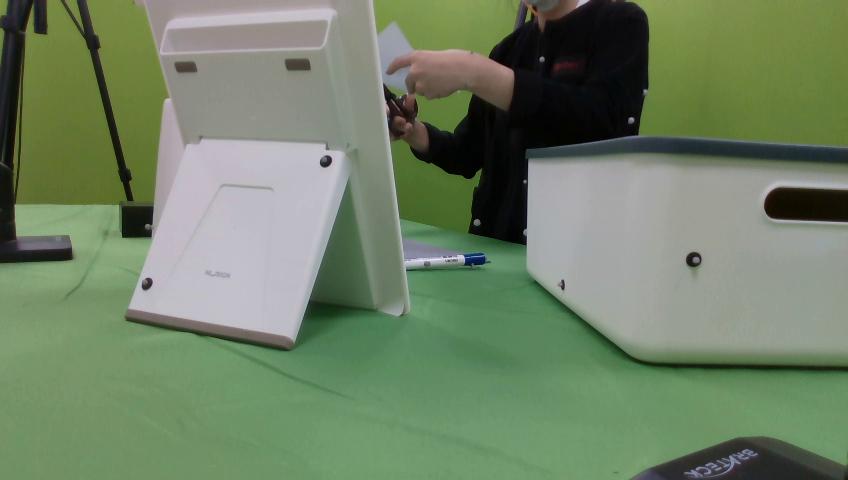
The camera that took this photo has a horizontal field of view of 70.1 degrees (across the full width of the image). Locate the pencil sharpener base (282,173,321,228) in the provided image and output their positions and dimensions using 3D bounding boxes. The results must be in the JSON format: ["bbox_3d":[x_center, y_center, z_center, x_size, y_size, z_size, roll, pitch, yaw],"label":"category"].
[{"bbox_3d":[-0.247,-0.080,1.212,0.061,0.107,0.076,-2,5,-28],"label":"pencil sharpener base"}]

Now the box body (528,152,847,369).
[{"bbox_3d":[0.257,-0.005,0.591,0.254,0.160,0.363,2,7,-4],"label":"box body"}]

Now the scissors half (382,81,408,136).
[{"bbox_3d":[-0.067,-0.245,1.080,0.012,0.040,0.176,28,-19,32],"label":"scissors half"}]

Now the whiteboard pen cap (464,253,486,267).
[{"bbox_3d":[0.066,0.027,0.818,0.033,0.018,0.018,-5,10,-24],"label":"whiteboard pen cap"}]

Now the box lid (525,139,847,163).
[{"bbox_3d":[0.261,-0.078,0.580,0.264,0.015,0.371,2,7,-4],"label":"box lid"}]

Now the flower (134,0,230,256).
[{"bbox_3d":[-0.282,-0.147,0.713,0.038,0.362,0.044,-23,24,-31],"label":"flower"}]

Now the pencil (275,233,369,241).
[{"bbox_3d":[-0.169,-0.006,1.036,0.195,0.012,0.012,-2,9,-45],"label":"pencil"}]

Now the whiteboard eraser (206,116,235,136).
[{"bbox_3d":[-0.450,-0.252,1.335,0.056,0.042,0.112,1,7,-22],"label":"whiteboard eraser"}]

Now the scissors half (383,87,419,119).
[{"bbox_3d":[-0.056,-0.263,1.083,0.013,0.040,0.176,23,1,31],"label":"scissors half"}]

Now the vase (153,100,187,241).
[{"bbox_3d":[-0.278,-0.066,0.736,0.098,0.200,0.098,2,9,0],"label":"vase"}]

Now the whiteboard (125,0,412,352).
[{"bbox_3d":[-0.151,-0.049,0.472,0.216,0.305,0.144,6,27,24],"label":"whiteboard"}]

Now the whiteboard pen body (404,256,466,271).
[{"bbox_3d":[0.012,0.030,0.792,0.141,0.017,0.017,-3,9,-24],"label":"whiteboard pen body"}]

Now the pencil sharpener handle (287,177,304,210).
[{"bbox_3d":[-0.269,-0.096,1.257,0.036,0.067,0.030,-8,8,-27],"label":"pencil sharpener handle"}]
